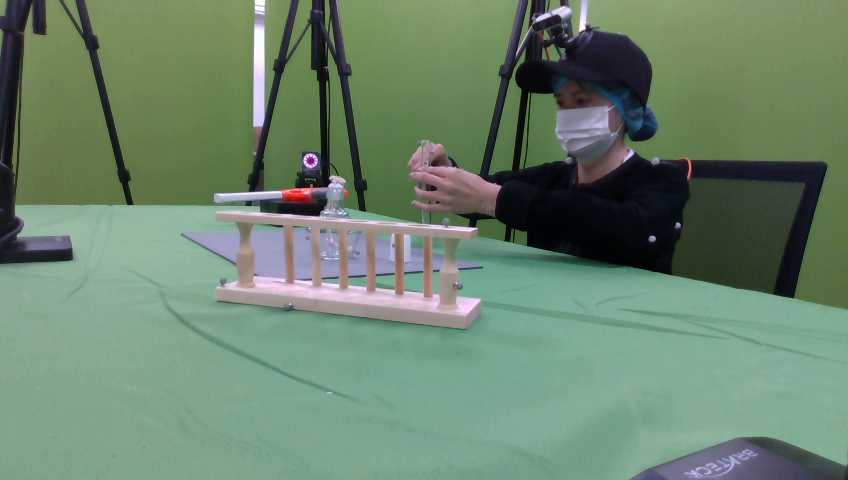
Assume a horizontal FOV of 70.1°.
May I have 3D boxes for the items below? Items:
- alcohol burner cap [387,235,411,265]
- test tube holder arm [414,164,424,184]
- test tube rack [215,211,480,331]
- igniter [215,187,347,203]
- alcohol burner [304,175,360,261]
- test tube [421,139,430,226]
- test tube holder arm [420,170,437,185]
[{"bbox_3d":[-0.035,0.009,0.839,0.034,0.048,0.034,2,6,0],"label":"alcohol burner cap"},{"bbox_3d":[-0.009,-0.120,1.082,0.013,0.015,0.178,9,13,-7],"label":"test tube holder arm"},{"bbox_3d":[-0.071,0.023,0.565,0.242,0.085,0.067,5,7,16],"label":"test tube rack"},{"bbox_3d":[-0.293,-0.095,1.267,0.278,0.025,0.057,-6,12,-34],"label":"igniter"},{"bbox_3d":[-0.126,-0.031,0.838,0.078,0.119,0.078,3,5,0],"label":"alcohol burner"},{"bbox_3d":[0.003,-0.094,1.020,0.017,0.150,0.017,0,8,0],"label":"test tube"},{"bbox_3d":[0.003,-0.108,1.040,0.010,0.015,0.087,4,14,-19],"label":"test tube holder arm"}]
